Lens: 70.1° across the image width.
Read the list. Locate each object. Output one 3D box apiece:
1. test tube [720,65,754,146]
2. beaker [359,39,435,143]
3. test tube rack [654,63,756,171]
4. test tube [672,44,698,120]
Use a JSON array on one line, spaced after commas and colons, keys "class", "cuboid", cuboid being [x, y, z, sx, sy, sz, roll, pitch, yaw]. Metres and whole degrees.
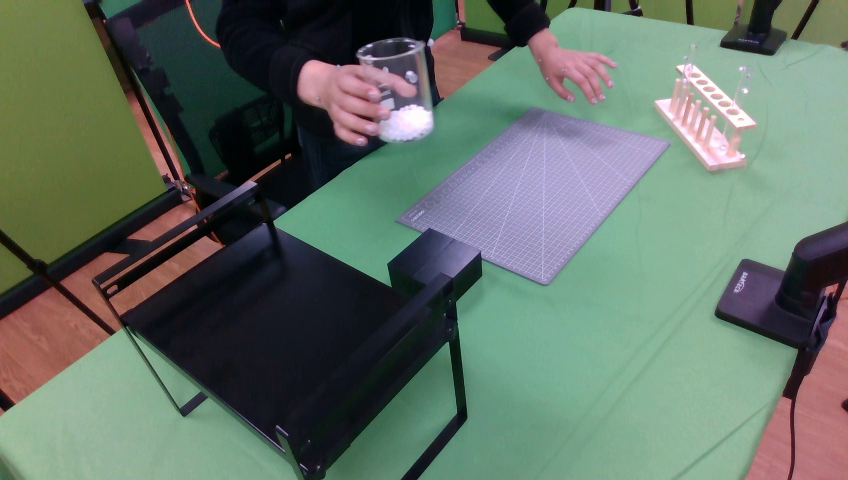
[{"class": "test tube", "cuboid": [0.533, -0.226, 1.032, 0.017, 0.151, 0.017, -2, 40, 2]}, {"class": "beaker", "cuboid": [-0.025, -0.169, 0.685, 0.073, 0.100, 0.084, 20, 43, 37]}, {"class": "test tube rack", "cuboid": [0.511, -0.233, 1.120, 0.067, 0.085, 0.241, -8, 41, -1]}, {"class": "test tube", "cuboid": [0.484, -0.291, 1.122, 0.017, 0.151, 0.017, -2, 41, 2]}]
